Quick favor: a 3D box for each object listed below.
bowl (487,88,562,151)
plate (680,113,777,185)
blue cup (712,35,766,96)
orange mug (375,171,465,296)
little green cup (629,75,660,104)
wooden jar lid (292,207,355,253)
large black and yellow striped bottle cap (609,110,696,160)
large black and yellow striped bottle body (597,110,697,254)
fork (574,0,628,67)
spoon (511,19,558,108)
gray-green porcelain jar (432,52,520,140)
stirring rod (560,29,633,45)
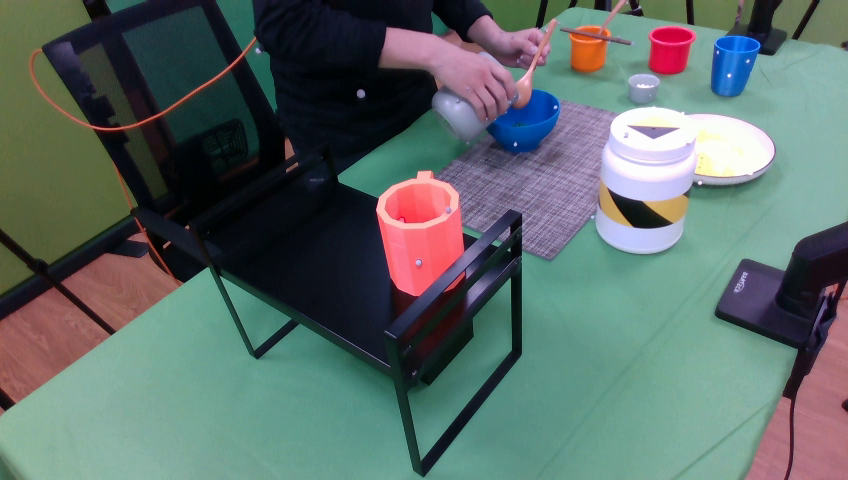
[{"bbox_3d":[0.187,-0.223,1.161,0.151,0.077,0.150,-4,40,4],"label":"bowl"},{"bbox_3d":[0.506,-0.158,1.073,0.209,0.038,0.208,-4,40,4],"label":"plate"},{"bbox_3d":[0.627,-0.350,1.227,0.092,0.100,0.092,-4,39,4],"label":"blue cup"},{"bbox_3d":[0.000,-0.016,0.661,0.083,0.101,0.125,-2,45,8],"label":"orange mug"},{"bbox_3d":[0.457,-0.314,1.260,0.061,0.039,0.061,-4,40,4],"label":"little green cup"},{"bbox_3d":[-0.169,-0.015,1.026,0.108,0.021,0.108,-4,40,4],"label":"wooden jar lid"},{"bbox_3d":[0.319,-0.150,0.849,0.115,0.019,0.114,-4,39,3],"label":"large black and yellow striped bottle cap"},{"bbox_3d":[0.331,-0.086,0.904,0.131,0.185,0.130,-5,41,4],"label":"large black and yellow striped bottle body"},{"bbox_3d":[0.413,-0.481,1.377,0.207,0.019,0.028,-56,43,12],"label":"fork"},{"bbox_3d":[0.207,-0.332,1.129,0.041,0.021,0.193,25,76,1],"label":"spoon"},{"bbox_3d":[0.086,-0.247,1.059,0.126,0.107,0.105,-43,46,1],"label":"gray-green porcelain jar"},{"bbox_3d":[0.381,-0.452,1.345,0.174,0.006,0.014,25,49,33],"label":"stirring rod"}]
